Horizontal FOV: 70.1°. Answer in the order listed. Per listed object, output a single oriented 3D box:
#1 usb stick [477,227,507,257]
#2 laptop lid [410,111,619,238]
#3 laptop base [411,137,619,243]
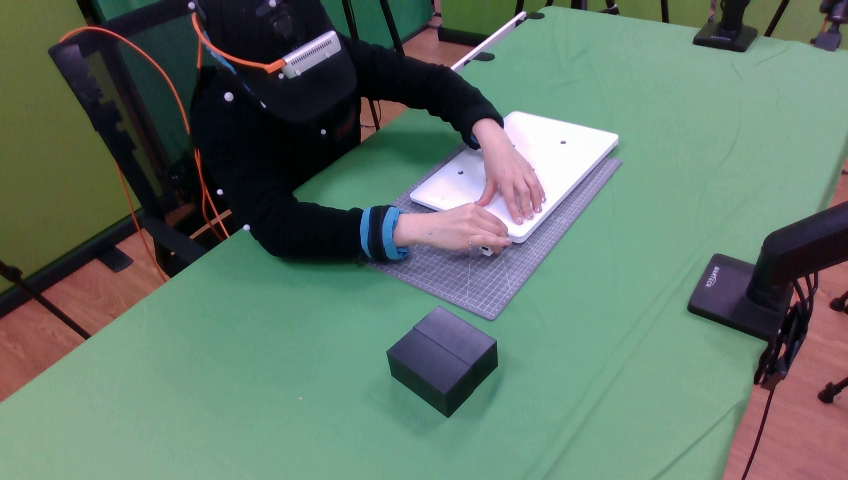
[{"bbox_3d":[0.109,-0.001,0.935,0.021,0.027,0.059,24,44,37],"label":"usb stick"},{"bbox_3d":[0.168,-0.136,1.090,0.239,0.013,0.358,24,49,34],"label":"laptop lid"},{"bbox_3d":[0.171,-0.126,1.096,0.233,0.023,0.355,21,48,33],"label":"laptop base"}]
